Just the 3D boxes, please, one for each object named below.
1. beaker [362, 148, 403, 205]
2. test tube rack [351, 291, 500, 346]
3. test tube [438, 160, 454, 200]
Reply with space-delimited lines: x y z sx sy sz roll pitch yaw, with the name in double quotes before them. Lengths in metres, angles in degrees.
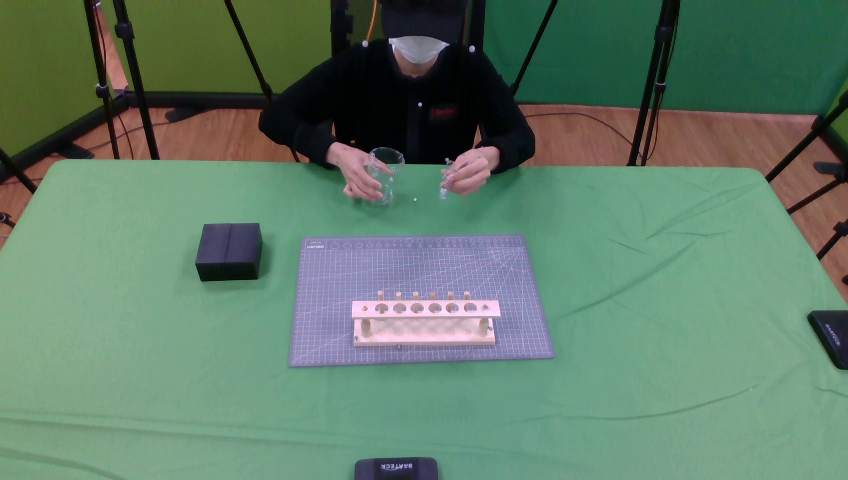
"beaker" -0.085 -0.129 1.241 0.084 0.100 0.073 -29 63 -34
"test tube rack" 0.001 0.129 1.026 0.242 0.085 0.066 0 46 -4
"test tube" 0.039 -0.106 1.104 0.017 0.150 0.017 1 71 -4
